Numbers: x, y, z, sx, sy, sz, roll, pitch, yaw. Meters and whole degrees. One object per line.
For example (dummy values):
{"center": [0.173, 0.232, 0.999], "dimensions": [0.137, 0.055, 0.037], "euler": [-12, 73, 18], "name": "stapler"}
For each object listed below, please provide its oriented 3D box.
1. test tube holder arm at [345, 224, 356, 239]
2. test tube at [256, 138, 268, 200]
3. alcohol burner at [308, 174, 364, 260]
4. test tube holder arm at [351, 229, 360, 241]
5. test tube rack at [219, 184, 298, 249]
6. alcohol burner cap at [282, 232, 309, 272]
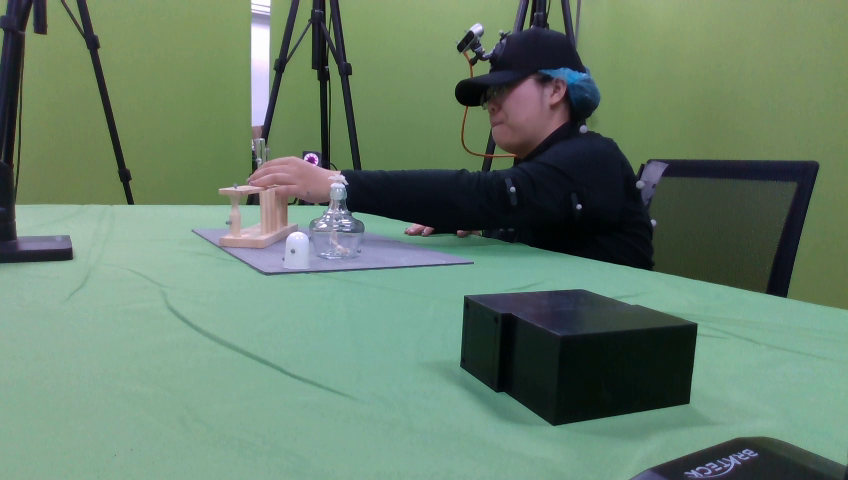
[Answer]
{"center": [-0.132, -0.017, 1.083], "dimensions": [0.013, 0.015, 0.178], "euler": [35, -1, -12], "name": "test tube holder arm"}
{"center": [-0.284, -0.104, 1.066], "dimensions": [0.017, 0.150, 0.017], "euler": [-1, 9, 0], "name": "test tube"}
{"center": [-0.121, -0.033, 0.841], "dimensions": [0.078, 0.119, 0.078], "euler": [3, 5, 0], "name": "alcohol burner"}
{"center": [-0.120, -0.009, 1.040], "dimensions": [0.010, 0.015, 0.087], "euler": [35, -1, -11], "name": "test tube holder arm"}
{"center": [-0.266, -0.046, 1.002], "dimensions": [0.067, 0.085, 0.242], "euler": [2, 7, 0], "name": "test tube rack"}
{"center": [-0.157, 0.014, 0.740], "dimensions": [0.034, 0.048, 0.034], "euler": [2, 6, 0], "name": "alcohol burner cap"}
